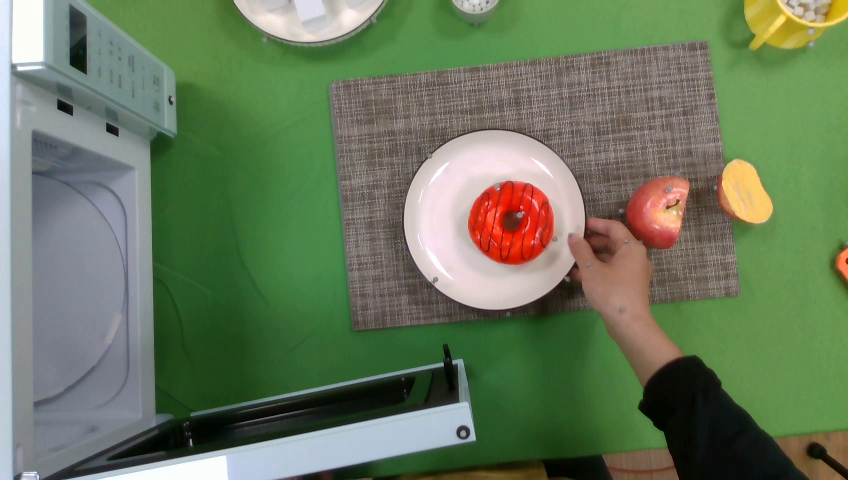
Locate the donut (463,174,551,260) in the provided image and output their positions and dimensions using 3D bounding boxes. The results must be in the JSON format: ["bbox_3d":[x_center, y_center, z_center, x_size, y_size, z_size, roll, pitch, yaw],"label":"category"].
[{"bbox_3d":[0.094,-0.025,0.682,0.099,0.048,0.099,0,89,2],"label":"donut"}]

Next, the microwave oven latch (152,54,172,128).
[{"bbox_3d":[-0.309,-0.172,0.699,0.030,0.029,0.079,-1,88,2],"label":"microwave oven latch"}]

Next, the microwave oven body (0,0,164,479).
[{"bbox_3d":[-0.452,0.007,0.600,0.326,0.260,0.441,-3,88,1],"label":"microwave oven body"}]

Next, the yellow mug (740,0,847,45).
[{"bbox_3d":[0.413,-0.272,0.685,0.100,0.064,0.131,42,90,3],"label":"yellow mug"}]

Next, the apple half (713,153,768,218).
[{"bbox_3d":[0.349,-0.056,0.686,0.082,0.033,0.081,10,68,-25],"label":"apple half"}]

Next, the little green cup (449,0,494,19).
[{"bbox_3d":[0.056,-0.292,0.712,0.061,0.038,0.061,0,87,2],"label":"little green cup"}]

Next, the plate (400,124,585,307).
[{"bbox_3d":[0.076,-0.028,0.694,0.209,0.038,0.209,0,87,2],"label":"plate"}]

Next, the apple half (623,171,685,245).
[{"bbox_3d":[0.249,-0.038,0.672,0.053,0.075,0.081,12,91,7],"label":"apple half"}]

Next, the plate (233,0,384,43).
[{"bbox_3d":[-0.134,-0.333,0.721,0.207,0.039,0.207,0,87,2],"label":"plate"}]

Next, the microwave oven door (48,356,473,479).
[{"bbox_3d":[-0.132,0.176,0.576,0.356,0.244,0.039,-12,86,1],"label":"microwave oven door"}]

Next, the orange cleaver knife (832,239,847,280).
[{"bbox_3d":[0.531,0.085,0.686,0.077,0.012,0.211,-21,85,-4],"label":"orange cleaver knife"}]
